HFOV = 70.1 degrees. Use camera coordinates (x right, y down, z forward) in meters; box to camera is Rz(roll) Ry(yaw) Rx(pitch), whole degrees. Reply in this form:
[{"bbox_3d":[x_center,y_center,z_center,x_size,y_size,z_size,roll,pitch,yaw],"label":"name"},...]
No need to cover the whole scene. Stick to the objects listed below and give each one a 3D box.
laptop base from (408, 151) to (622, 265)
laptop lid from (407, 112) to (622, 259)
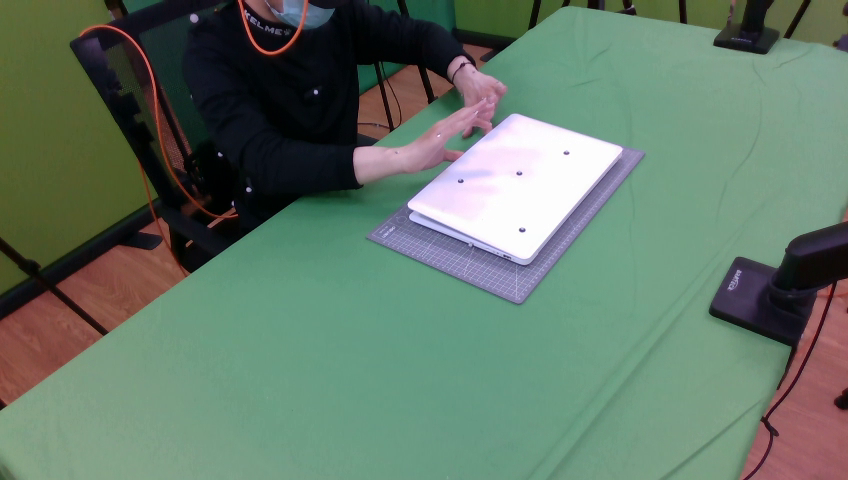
[{"bbox_3d":[0.168,-0.095,1.057,0.233,0.023,0.355,20,47,32],"label":"laptop base"},{"bbox_3d":[0.164,-0.113,1.043,0.240,0.013,0.358,27,50,28],"label":"laptop lid"}]
